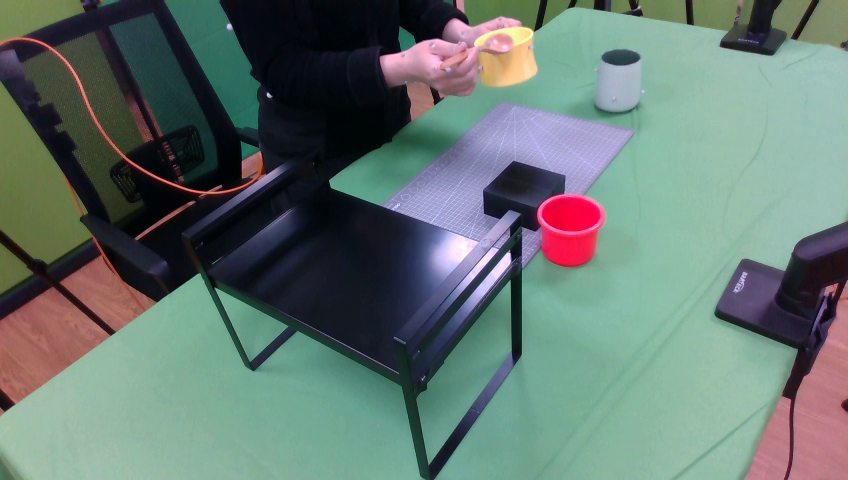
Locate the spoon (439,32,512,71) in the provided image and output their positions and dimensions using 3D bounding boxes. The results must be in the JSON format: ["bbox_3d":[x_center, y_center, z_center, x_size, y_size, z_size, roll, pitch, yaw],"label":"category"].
[{"bbox_3d":[0.074,-0.274,0.876,0.041,0.021,0.194,38,40,14],"label":"spoon"}]

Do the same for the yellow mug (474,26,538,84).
[{"bbox_3d":[0.143,-0.325,1.039,0.099,0.064,0.130,-2,36,19],"label":"yellow mug"}]

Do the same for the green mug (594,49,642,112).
[{"bbox_3d":[0.397,-0.333,1.240,0.092,0.105,0.125,-3,41,7],"label":"green mug"}]
